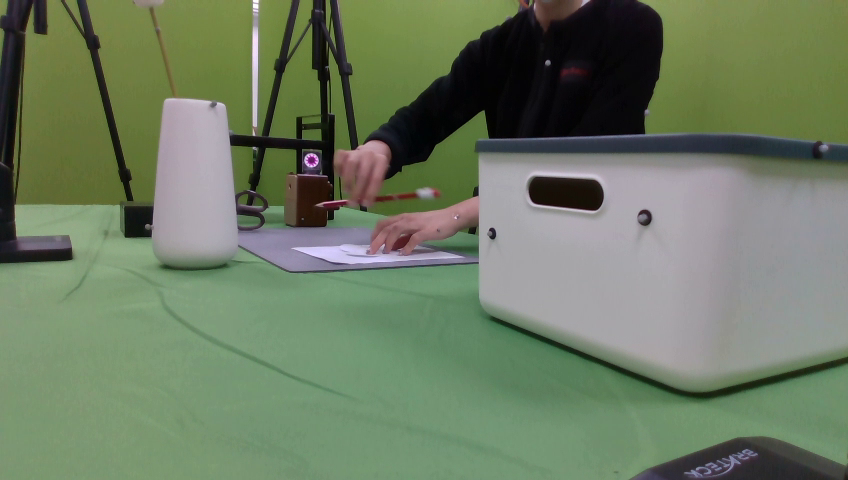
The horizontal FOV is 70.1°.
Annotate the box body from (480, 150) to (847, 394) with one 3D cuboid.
[{"bbox_3d":[0.254,0.002,0.539,0.366,0.160,0.253,-2,8,-31],"label":"box body"}]

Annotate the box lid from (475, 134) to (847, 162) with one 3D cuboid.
[{"bbox_3d":[0.256,-0.073,0.528,0.373,0.015,0.262,-2,8,-31],"label":"box lid"}]

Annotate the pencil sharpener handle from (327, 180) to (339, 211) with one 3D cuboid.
[{"bbox_3d":[-0.194,-0.094,1.256,0.031,0.067,0.036,-2,-5,-36],"label":"pencil sharpener handle"}]

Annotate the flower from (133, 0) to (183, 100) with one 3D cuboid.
[{"bbox_3d":[-0.282,-0.147,0.713,0.038,0.362,0.044,-23,24,-31],"label":"flower"}]

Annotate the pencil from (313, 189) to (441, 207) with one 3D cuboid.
[{"bbox_3d":[-0.070,-0.058,0.851,0.193,0.012,0.012,-5,5,17],"label":"pencil"}]

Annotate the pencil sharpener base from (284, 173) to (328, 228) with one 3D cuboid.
[{"bbox_3d":[-0.239,-0.081,1.231,0.077,0.107,0.061,-2,8,-36],"label":"pencil sharpener base"}]

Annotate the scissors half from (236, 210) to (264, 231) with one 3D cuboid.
[{"bbox_3d":[-0.369,-0.051,1.065,0.176,0.040,0.012,19,14,-27],"label":"scissors half"}]

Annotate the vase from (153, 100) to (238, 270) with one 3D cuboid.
[{"bbox_3d":[-0.278,-0.066,0.736,0.098,0.200,0.098,2,9,0],"label":"vase"}]

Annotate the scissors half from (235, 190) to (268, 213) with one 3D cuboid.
[{"bbox_3d":[-0.363,-0.070,1.060,0.176,0.040,0.013,0,16,-23],"label":"scissors half"}]
